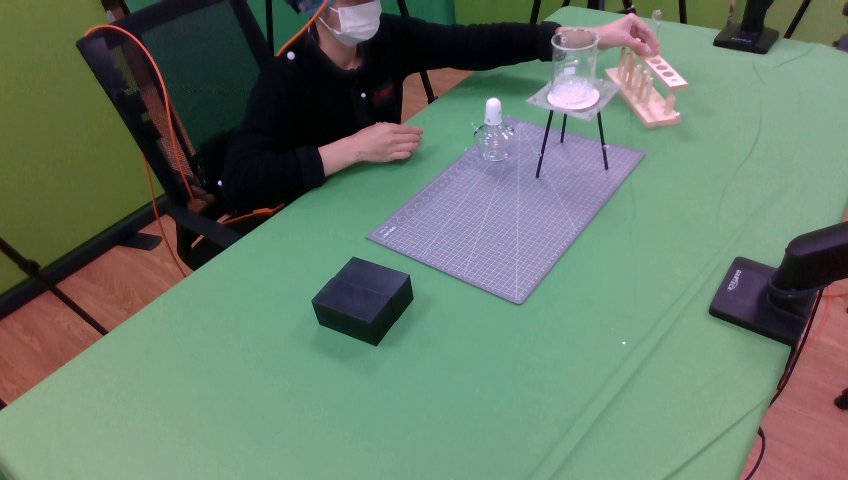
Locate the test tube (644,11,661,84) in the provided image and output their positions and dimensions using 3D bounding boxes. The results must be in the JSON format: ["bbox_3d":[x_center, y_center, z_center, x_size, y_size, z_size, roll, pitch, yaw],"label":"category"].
[{"bbox_3d":[0.456,-0.383,1.213,0.017,0.151,0.017,-4,42,5],"label":"test tube"}]

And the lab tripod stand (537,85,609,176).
[{"bbox_3d":[0.259,-0.192,1.068,0.148,0.132,0.147,-4,43,4],"label":"lab tripod stand"}]

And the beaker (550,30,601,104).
[{"bbox_3d":[0.250,-0.285,1.001,0.084,0.101,0.073,-13,43,-5],"label":"beaker"}]

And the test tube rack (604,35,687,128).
[{"bbox_3d":[0.447,-0.330,1.241,0.067,0.085,0.241,-9,41,-2],"label":"test tube rack"}]

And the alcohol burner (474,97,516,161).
[{"bbox_3d":[0.130,-0.208,1.121,0.078,0.119,0.077,-6,40,5],"label":"alcohol burner"}]

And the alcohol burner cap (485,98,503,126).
[{"bbox_3d":[0.126,-0.234,1.097,0.034,0.048,0.033,-3,39,3],"label":"alcohol burner cap"}]

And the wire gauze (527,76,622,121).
[{"bbox_3d":[0.255,-0.247,1.030,0.124,0.011,0.122,23,49,34],"label":"wire gauze"}]
